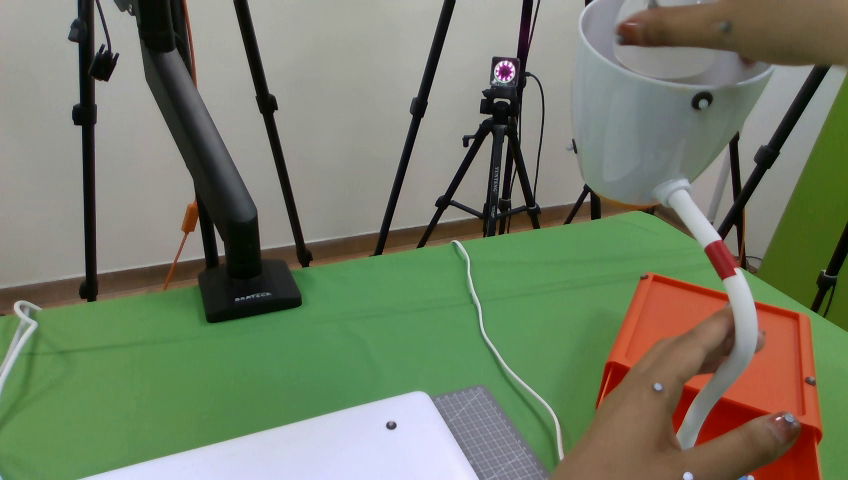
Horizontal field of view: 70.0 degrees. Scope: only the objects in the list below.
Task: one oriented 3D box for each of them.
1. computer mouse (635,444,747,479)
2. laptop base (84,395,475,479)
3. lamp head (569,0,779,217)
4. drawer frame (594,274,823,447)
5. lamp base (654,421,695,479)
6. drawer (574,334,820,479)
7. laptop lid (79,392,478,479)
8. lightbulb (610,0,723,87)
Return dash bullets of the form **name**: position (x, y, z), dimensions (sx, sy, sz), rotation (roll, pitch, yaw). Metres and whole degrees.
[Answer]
- **computer mouse**: position (0.247, 0.225, 0.547), dimensions (0.117, 0.041, 0.062), rotation (15, 29, 13)
- **laptop base**: position (-0.116, 0.249, 0.490), dimensions (0.356, 0.023, 0.233), rotation (-9, 34, -23)
- **lamp head**: position (0.144, -0.075, 0.381), dimensions (0.112, 0.124, 0.111), rotation (-1, 42, 1)
- **drawer frame**: position (0.317, 0.140, 0.682), dimensions (0.200, 0.083, 0.213), rotation (15, 29, 22)
- **lamp base**: position (0.163, 0.223, 0.395), dimensions (0.161, 0.181, 0.177), rotation (1, 25, -8)
- **drawer**: position (0.268, 0.186, 0.593), dimensions (0.193, 0.074, 0.211), rotation (14, 29, 21)
- **laptop lid**: position (-0.114, 0.239, 0.483), dimensions (0.358, 0.013, 0.239), rotation (-8, 32, -21)
- **lightbulb**: position (0.137, -0.101, 0.361), dimensions (0.059, 0.108, 0.059), rotation (0, 50, 1)
